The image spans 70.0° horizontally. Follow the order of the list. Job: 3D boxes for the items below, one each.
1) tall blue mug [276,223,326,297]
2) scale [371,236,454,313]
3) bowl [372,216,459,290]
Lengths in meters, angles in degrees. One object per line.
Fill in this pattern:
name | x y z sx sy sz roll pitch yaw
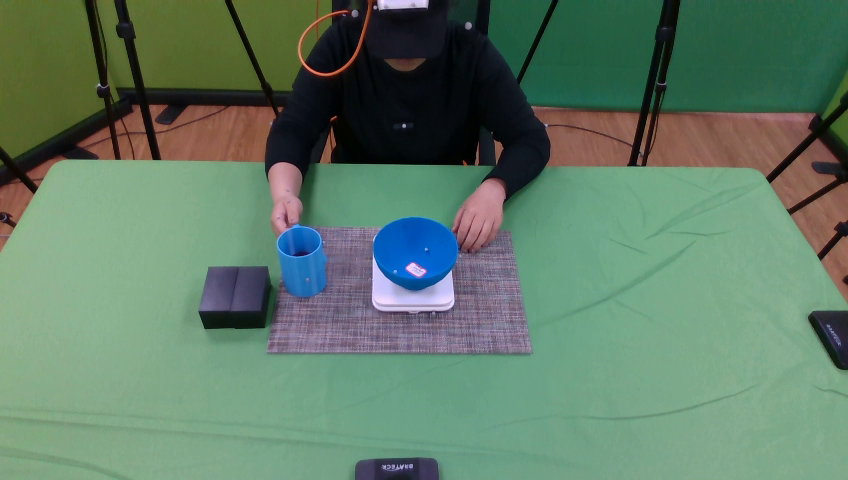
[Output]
tall blue mug | -0.228 0.030 1.086 0.078 0.108 0.106 -33 57 -29
scale | -0.022 0.051 1.134 0.149 0.032 0.199 1 46 -4
bowl | -0.016 0.036 1.075 0.151 0.077 0.150 2 46 -1
